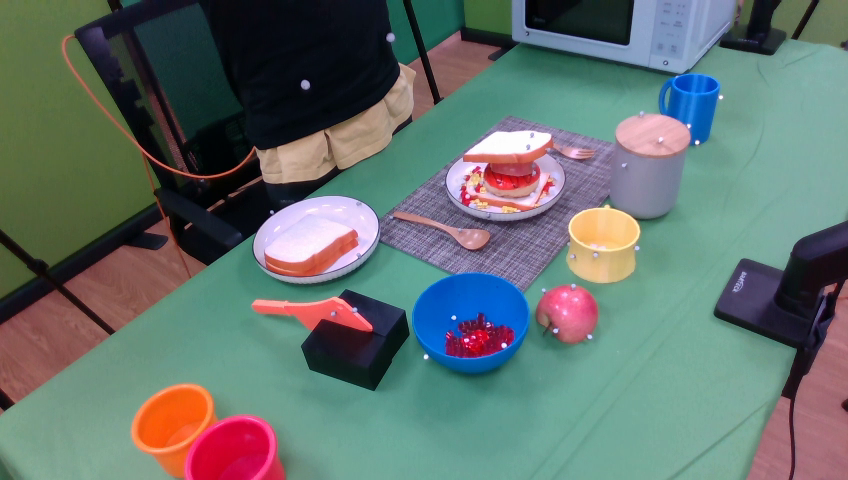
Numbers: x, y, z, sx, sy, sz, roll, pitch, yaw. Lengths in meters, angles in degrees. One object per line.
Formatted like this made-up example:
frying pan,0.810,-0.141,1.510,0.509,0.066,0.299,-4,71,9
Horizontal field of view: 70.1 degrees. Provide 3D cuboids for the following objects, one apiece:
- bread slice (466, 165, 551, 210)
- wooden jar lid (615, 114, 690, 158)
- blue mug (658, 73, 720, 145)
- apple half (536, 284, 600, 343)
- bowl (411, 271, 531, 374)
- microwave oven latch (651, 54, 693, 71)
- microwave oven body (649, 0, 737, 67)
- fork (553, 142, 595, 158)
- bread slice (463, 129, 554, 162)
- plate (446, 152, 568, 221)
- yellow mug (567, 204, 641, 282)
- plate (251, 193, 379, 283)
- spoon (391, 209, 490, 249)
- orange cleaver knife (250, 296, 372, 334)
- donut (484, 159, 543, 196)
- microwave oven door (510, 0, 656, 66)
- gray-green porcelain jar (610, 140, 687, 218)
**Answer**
bread slice,0.141,-0.093,1.041,0.133,0.018,0.107,8,42,20
wooden jar lid,0.347,-0.155,0.923,0.108,0.021,0.108,-3,44,4
blue mug,0.483,-0.250,1.127,0.082,0.106,0.115,-26,44,-19
apple half,0.196,0.091,0.815,0.075,0.053,0.080,-22,42,-20
bowl,0.062,0.119,0.780,0.151,0.077,0.150,-4,40,4
microwave oven latch,0.532,-0.386,1.301,0.078,0.029,0.030,27,52,34
microwave oven body,0.475,-0.602,1.411,0.438,0.261,0.327,23,50,32
fork,0.225,-0.186,1.151,0.206,0.019,0.028,21,59,27
bread slice,0.143,-0.154,0.974,0.130,0.019,0.105,9,35,38
plate,0.143,-0.097,1.045,0.207,0.039,0.206,-4,40,4
yellow mug,0.268,-0.005,0.905,0.099,0.064,0.130,6,42,16
plate,-0.174,-0.001,0.984,0.209,0.038,0.208,-4,40,4
spoon,0.023,-0.025,0.989,0.192,0.022,0.041,20,71,28
orange cleaver knife,-0.159,0.103,0.828,0.210,0.078,0.012,-3,43,39
donut,0.150,-0.112,1.018,0.099,0.048,0.098,-5,40,4
microwave oven door,0.350,-0.539,1.349,0.353,0.245,0.039,24,50,31
gray-green porcelain jar,0.354,-0.106,0.964,0.106,0.127,0.105,-4,41,4
